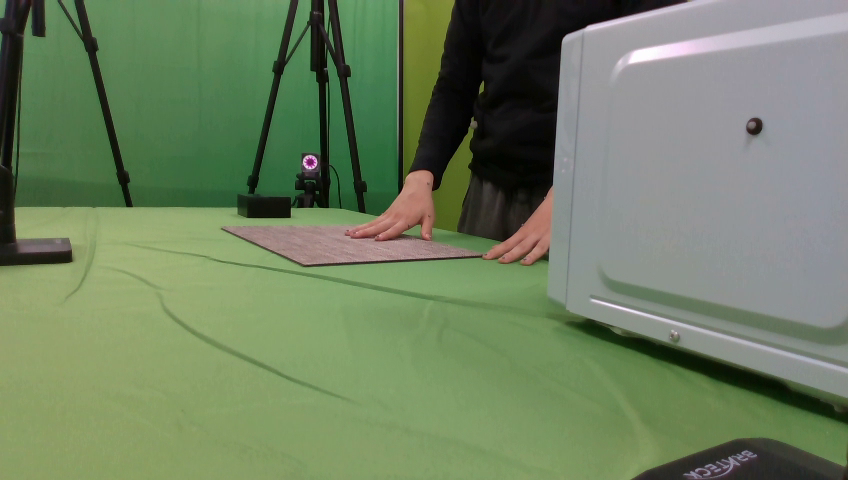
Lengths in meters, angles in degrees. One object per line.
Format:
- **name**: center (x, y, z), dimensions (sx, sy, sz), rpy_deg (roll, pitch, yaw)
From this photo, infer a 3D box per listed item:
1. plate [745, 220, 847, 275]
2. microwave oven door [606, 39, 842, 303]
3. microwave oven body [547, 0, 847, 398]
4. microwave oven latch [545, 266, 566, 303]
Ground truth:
- **plate**: center (0.407, 0.008, 0.552), dimensions (0.209, 0.038, 0.209), rpy_deg (2, 6, 0)
- **microwave oven door**: center (0.341, -0.070, 0.654), dimensions (0.358, 0.243, 0.039), rpy_deg (-3, 9, -31)
- **microwave oven body**: center (0.378, -0.045, 0.509), dimensions (0.444, 0.260, 0.324), rpy_deg (-2, 8, -31)
- **microwave oven latch**: center (0.147, 0.038, 0.555), dimensions (0.079, 0.029, 0.030), rpy_deg (-2, 7, -29)
